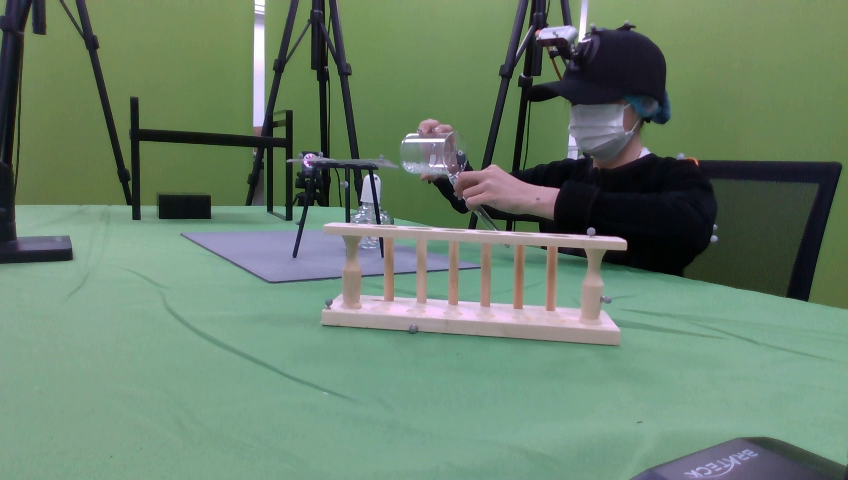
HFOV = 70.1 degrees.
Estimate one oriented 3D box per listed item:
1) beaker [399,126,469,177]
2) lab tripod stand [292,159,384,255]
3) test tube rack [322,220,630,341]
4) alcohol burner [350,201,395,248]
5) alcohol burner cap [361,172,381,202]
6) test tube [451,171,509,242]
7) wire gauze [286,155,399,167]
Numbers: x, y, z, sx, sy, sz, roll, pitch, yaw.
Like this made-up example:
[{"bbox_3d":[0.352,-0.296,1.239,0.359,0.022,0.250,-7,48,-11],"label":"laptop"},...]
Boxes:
[{"bbox_3d":[0.015,-0.149,1.025,0.100,0.084,0.074,6,6,38],"label":"beaker"},{"bbox_3d":[-0.105,-0.039,0.797,0.148,0.131,0.148,2,5,0],"label":"lab tripod stand"},{"bbox_3d":[0.041,0.029,0.512,0.242,0.085,0.067,3,7,5],"label":"test tube rack"},{"bbox_3d":[-0.084,-0.048,0.953,0.078,0.119,0.078,1,6,0],"label":"alcohol burner"},{"bbox_3d":[-0.081,-0.084,0.949,0.034,0.048,0.034,7,7,-1],"label":"alcohol burner cap"},{"bbox_3d":[0.090,-0.054,0.972,0.017,0.017,0.149,-7,53,-49],"label":"test tube"},{"bbox_3d":[-0.101,-0.105,0.788,0.121,0.011,0.125,4,6,6],"label":"wire gauze"}]
